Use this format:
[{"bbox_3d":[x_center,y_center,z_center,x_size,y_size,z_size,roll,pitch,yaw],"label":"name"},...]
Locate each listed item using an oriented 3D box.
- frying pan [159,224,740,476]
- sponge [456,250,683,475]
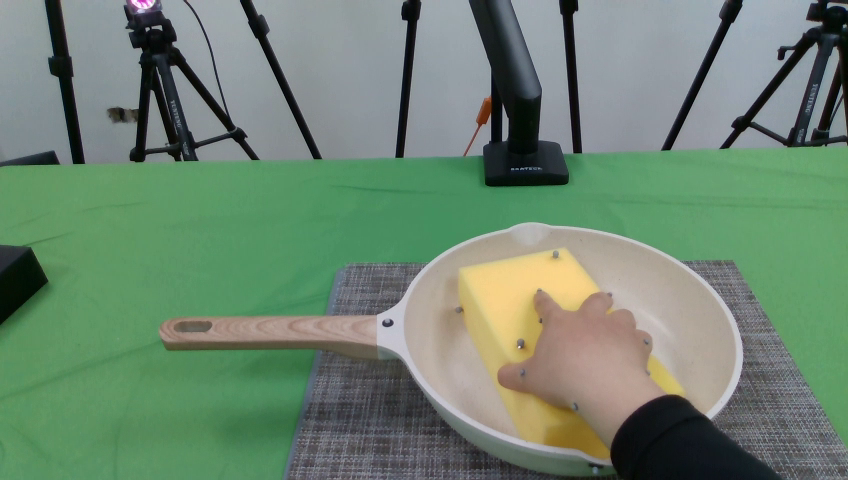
[{"bbox_3d":[0.019,0.086,0.542,0.489,0.103,0.304,3,33,-5],"label":"frying pan"},{"bbox_3d":[0.117,0.097,0.549,0.118,0.061,0.204,-11,35,-13],"label":"sponge"}]
